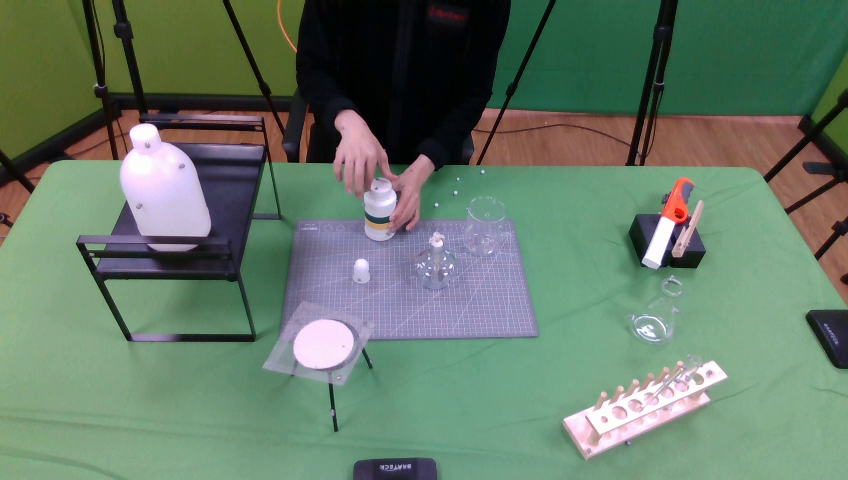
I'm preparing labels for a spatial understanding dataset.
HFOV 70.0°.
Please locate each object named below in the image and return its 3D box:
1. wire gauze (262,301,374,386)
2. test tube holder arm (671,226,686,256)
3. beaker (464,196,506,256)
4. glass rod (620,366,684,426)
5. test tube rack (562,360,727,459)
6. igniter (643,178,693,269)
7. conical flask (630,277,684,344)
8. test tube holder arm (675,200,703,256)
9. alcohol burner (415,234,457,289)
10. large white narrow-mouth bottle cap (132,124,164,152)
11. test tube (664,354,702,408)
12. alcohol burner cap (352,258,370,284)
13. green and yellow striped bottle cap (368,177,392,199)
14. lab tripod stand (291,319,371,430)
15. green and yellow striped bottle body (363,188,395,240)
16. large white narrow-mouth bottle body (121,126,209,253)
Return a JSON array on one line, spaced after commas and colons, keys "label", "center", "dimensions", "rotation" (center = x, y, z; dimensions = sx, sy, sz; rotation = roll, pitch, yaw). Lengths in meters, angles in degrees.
[{"label": "wire gauze", "center": [-0.150, 0.148, 0.873], "dimensions": [0.121, 0.011, 0.124], "rotation": [14, 46, 12]}, {"label": "test tube holder arm", "center": [0.494, 0.001, 1.167], "dimensions": [0.010, 0.015, 0.087], "rotation": [1, 36, 42]}, {"label": "beaker", "center": [0.117, -0.026, 1.174], "dimensions": [0.074, 0.101, 0.083], "rotation": [21, 48, 15]}, {"label": "glass rod", "center": [0.322, 0.227, 0.866], "dimensions": [0.008, 0.200, 0.008], "rotation": [5, 51, -7]}, {"label": "test tube rack", "center": [0.341, 0.247, 0.940], "dimensions": [0.243, 0.085, 0.066], "rotation": [-16, 49, -18]}, {"label": "igniter", "center": [0.488, -0.042, 1.205], "dimensions": [0.057, 0.025, 0.276], "rotation": [30, 51, 11]}, {"label": "conical flask", "center": [0.408, 0.117, 1.045], "dimensions": [0.075, 0.122, 0.075], "rotation": [2, 46, -2]}, {"label": "test tube holder arm", "center": [0.523, -0.025, 1.190], "dimensions": [0.013, 0.015, 0.178], "rotation": [1, 36, 42]}, {"label": "alcohol burner", "center": [0.022, 0.033, 1.099], "dimensions": [0.078, 0.120, 0.077], "rotation": [1, 47, -1]}, {"label": "large white narrow-mouth bottle cap", "center": [-0.370, -0.137, 0.813], "dimensions": [0.038, 0.024, 0.037], "rotation": [3, 46, -3]}, {"label": "test tube", "center": [0.385, 0.215, 0.906], "dimensions": [0.017, 0.151, 0.017], "rotation": [-1, 49, 1]}, {"label": "alcohol burner cap", "center": [-0.117, 0.055, 1.118], "dimensions": [0.034, 0.048, 0.033], "rotation": [2, 46, -2]}, {"label": "green and yellow striped bottle cap", "center": [-0.083, -0.099, 1.138], "dimensions": [0.045, 0.020, 0.045], "rotation": [2, 47, -2]}, {"label": "lab tripod stand", "center": [-0.146, 0.193, 0.923], "dimensions": [0.148, 0.132, 0.147], "rotation": [1, 47, -1]}, {"label": "green and yellow striped bottle body", "center": [-0.087, -0.061, 1.177], "dimensions": [0.063, 0.120, 0.063], "rotation": [2, 46, -2]}, {"label": "large white narrow-mouth bottle body", "center": [-0.378, -0.077, 0.875], "dimensions": [0.102, 0.195, 0.101], "rotation": [3, 46, -3]}]
